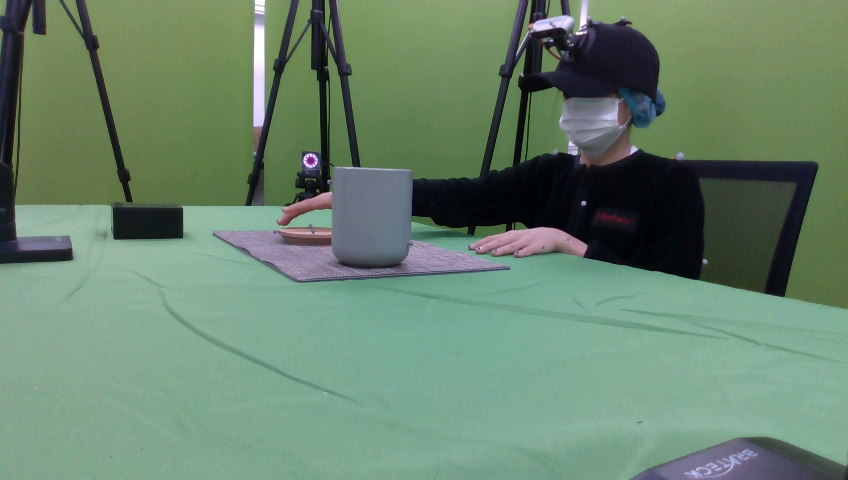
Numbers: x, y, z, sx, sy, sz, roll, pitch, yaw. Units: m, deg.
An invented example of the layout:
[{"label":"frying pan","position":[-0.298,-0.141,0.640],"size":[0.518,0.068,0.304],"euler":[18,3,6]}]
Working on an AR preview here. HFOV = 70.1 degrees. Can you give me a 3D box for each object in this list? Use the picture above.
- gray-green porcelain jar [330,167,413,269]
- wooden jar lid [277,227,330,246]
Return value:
[{"label":"gray-green porcelain jar","position":[-0.069,-0.030,0.791],"size":[0.106,0.126,0.106],"euler":[3,7,0]},{"label":"wooden jar lid","position":[-0.183,-0.006,0.978],"size":[0.108,0.020,0.108],"euler":[3,9,0]}]
